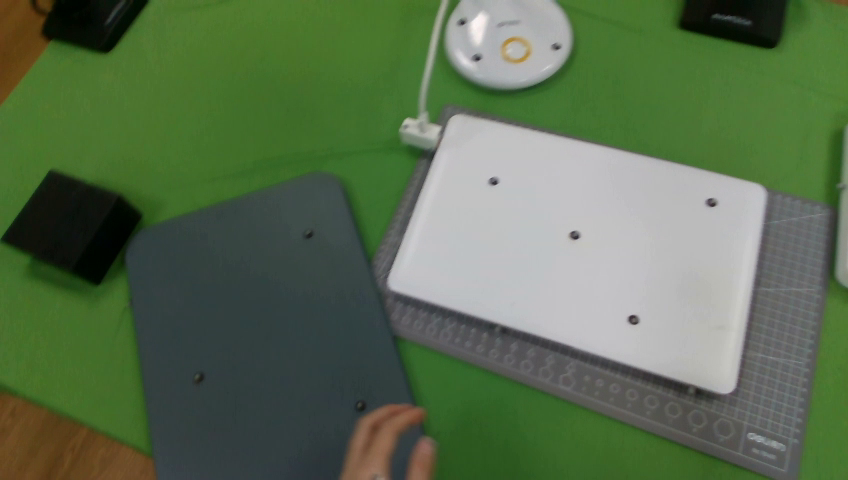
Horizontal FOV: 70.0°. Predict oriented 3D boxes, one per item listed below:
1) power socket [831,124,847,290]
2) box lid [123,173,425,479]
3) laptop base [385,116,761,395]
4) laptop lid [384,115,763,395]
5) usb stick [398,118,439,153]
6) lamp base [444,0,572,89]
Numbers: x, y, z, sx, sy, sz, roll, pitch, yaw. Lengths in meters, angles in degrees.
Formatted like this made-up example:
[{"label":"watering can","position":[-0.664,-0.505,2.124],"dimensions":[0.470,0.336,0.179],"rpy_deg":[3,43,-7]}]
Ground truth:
[{"label":"power socket","position":[0.475,-0.040,0.631],"dimensions":[0.072,0.033,0.225],"rpy_deg":[16,68,11]},{"label":"box lid","position":[-0.172,0.110,0.638],"dimensions":[0.263,0.015,0.368],"rpy_deg":[-19,66,-3]},{"label":"laptop base","position":[0.158,0.002,0.650],"dimensions":[0.353,0.023,0.234],"rpy_deg":[16,71,12]},{"label":"laptop lid","position":[0.156,-0.001,0.639],"dimensions":[0.355,0.013,0.240],"rpy_deg":[17,71,13]},{"label":"usb stick","position":[0.001,-0.120,0.707],"dimensions":[0.059,0.027,0.021],"rpy_deg":[21,63,10]},{"label":"lamp base","position":[0.095,-0.301,0.706],"dimensions":[0.161,0.182,0.177],"rpy_deg":[-18,62,-3]}]
